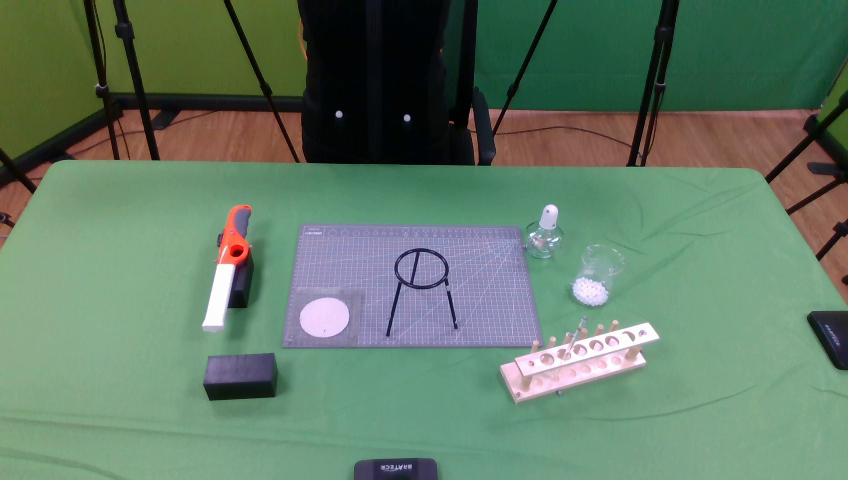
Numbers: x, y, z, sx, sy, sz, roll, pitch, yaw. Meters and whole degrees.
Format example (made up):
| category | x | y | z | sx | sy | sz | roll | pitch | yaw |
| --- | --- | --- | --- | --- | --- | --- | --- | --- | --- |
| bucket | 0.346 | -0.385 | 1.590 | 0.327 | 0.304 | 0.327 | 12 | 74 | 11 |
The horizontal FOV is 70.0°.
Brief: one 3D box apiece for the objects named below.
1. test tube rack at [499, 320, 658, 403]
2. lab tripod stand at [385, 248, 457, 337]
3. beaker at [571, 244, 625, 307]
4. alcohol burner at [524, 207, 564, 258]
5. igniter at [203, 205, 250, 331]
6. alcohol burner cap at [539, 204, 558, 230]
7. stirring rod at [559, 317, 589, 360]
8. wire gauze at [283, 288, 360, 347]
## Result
| category | x | y | z | sx | sy | sz | roll | pitch | yaw |
| --- | --- | --- | --- | --- | --- | --- | --- | --- | --- |
| test tube rack | 0.252 | 0.187 | 0.994 | 0.243 | 0.085 | 0.066 | -12 | 48 | -15 |
| lab tripod stand | -0.010 | 0.087 | 1.032 | 0.148 | 0.132 | 0.147 | 1 | 45 | -1 |
| beaker | 0.315 | 0.067 | 1.105 | 0.084 | 0.101 | 0.073 | -9 | 48 | -13 |
| alcohol burner | 0.236 | -0.021 | 1.174 | 0.078 | 0.120 | 0.077 | 1 | 48 | -1 |
| igniter | -0.345 | 0.038 | 1.065 | 0.057 | 0.025 | 0.274 | 3 | 49 | -6 |
| alcohol burner cap | 0.239 | -0.046 | 1.148 | 0.034 | 0.048 | 0.033 | 1 | 44 | -1 |
| stirring rod | 0.221 | 0.155 | 0.912 | 0.014 | 0.177 | 0.006 | 5 | 58 | 2 |
| wire gauze | -0.178 | 0.132 | 1.063 | 0.125 | 0.011 | 0.120 | 2 | 46 | 1 |
